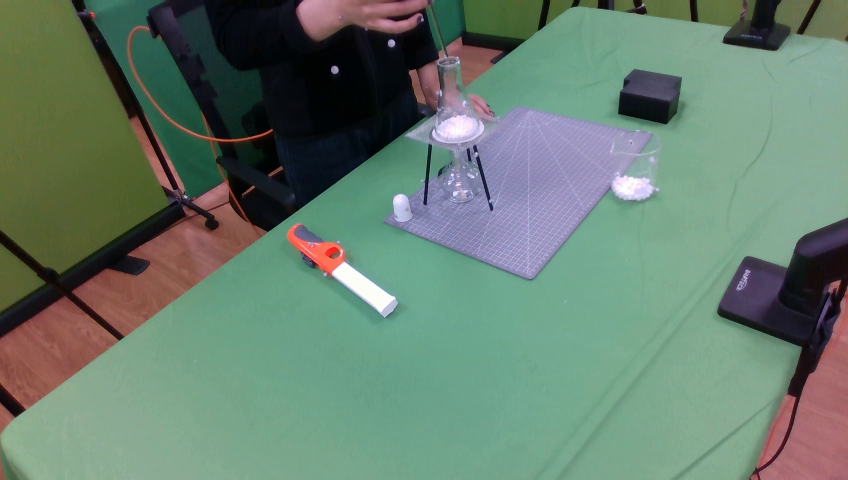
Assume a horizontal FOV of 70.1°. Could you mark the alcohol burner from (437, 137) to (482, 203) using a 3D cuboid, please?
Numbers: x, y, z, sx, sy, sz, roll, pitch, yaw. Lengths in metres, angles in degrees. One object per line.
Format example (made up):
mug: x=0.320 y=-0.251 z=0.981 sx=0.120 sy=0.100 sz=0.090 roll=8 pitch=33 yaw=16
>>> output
alcohol burner: x=0.060 y=-0.125 z=1.045 sx=0.078 sy=0.119 sz=0.077 roll=-5 pitch=38 yaw=4

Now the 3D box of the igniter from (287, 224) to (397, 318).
igniter: x=-0.139 y=0.042 z=0.958 sx=0.057 sy=0.025 sz=0.274 roll=-41 pitch=49 yaw=-19

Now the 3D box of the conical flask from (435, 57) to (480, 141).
conical flask: x=0.046 y=-0.224 z=0.954 sx=0.075 sy=0.122 sz=0.075 roll=-7 pitch=39 yaw=6

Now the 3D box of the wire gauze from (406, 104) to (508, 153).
wire gauze: x=0.054 y=-0.183 z=0.997 sx=0.120 sy=0.011 sz=0.125 roll=26 pitch=53 yaw=38

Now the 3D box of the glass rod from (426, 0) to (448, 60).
glass rod: x=0.004 y=-0.337 z=0.840 sx=0.008 sy=0.201 sz=0.008 roll=-11 pitch=46 yaw=12

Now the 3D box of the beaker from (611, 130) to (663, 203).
beaker: x=0.346 y=-0.118 z=0.998 sx=0.084 sy=0.101 sz=0.073 roll=-17 pitch=40 yaw=-7

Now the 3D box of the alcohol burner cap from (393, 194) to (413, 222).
alcohol burner cap: x=-0.039 y=-0.057 z=1.038 sx=0.034 sy=0.048 sz=0.033 roll=-5 pitch=40 yaw=5

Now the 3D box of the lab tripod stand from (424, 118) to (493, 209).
lab tripod stand: x=0.061 y=-0.133 z=1.039 sx=0.148 sy=0.132 sz=0.147 roll=-6 pitch=38 yaw=6
